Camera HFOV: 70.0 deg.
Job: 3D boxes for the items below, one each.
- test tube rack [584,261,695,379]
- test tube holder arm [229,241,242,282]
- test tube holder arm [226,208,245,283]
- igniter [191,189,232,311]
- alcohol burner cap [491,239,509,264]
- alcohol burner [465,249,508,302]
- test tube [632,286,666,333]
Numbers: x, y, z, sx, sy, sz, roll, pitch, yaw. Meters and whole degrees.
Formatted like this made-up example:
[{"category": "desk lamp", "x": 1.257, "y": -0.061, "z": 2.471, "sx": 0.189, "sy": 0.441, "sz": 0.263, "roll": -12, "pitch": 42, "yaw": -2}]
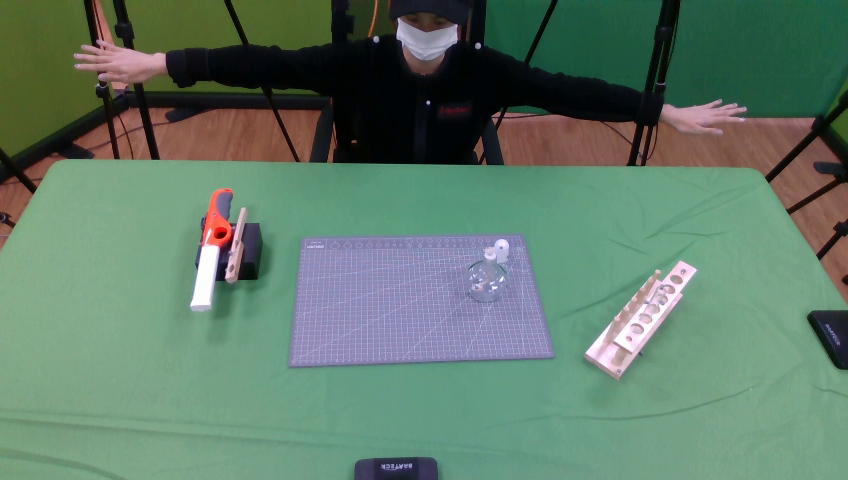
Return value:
[{"category": "test tube rack", "x": 0.380, "y": 0.127, "z": 1.062, "sx": 0.066, "sy": 0.085, "sz": 0.242, "roll": 34, "pitch": 53, "yaw": 26}, {"category": "test tube holder arm", "x": -0.332, "y": 0.037, "z": 1.070, "sx": 0.010, "sy": 0.015, "sz": 0.087, "roll": -6, "pitch": 47, "yaw": -1}, {"category": "test tube holder arm", "x": -0.342, "y": 0.006, "z": 1.101, "sx": 0.013, "sy": 0.015, "sz": 0.177, "roll": -7, "pitch": 47, "yaw": -2}, {"category": "igniter", "x": -0.381, "y": 0.008, "z": 1.092, "sx": 0.057, "sy": 0.025, "sz": 0.274, "roll": -1, "pitch": 50, "yaw": -7}, {"category": "alcohol burner cap", "x": 0.150, "y": 0.020, "z": 1.174, "sx": 0.034, "sy": 0.048, "sz": 0.033, "roll": 2, "pitch": 46, "yaw": -2}, {"category": "alcohol burner", "x": 0.114, "y": 0.057, "z": 1.085, "sx": 0.078, "sy": 0.120, "sz": 0.077, "roll": 2, "pitch": 48, "yaw": -2}, {"category": "test tube", "x": 0.363, "y": 0.125, "z": 0.993, "sx": 0.017, "sy": 0.151, "sz": 0.017, "roll": 2, "pitch": 49, "yaw": -2}]
